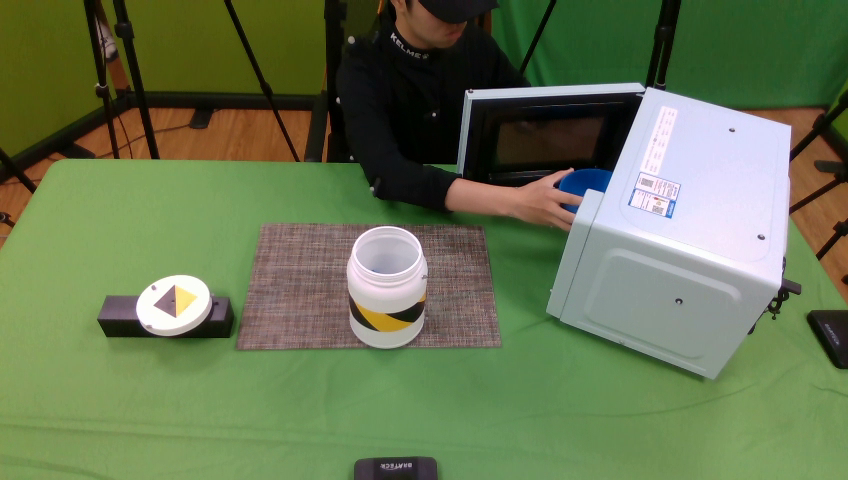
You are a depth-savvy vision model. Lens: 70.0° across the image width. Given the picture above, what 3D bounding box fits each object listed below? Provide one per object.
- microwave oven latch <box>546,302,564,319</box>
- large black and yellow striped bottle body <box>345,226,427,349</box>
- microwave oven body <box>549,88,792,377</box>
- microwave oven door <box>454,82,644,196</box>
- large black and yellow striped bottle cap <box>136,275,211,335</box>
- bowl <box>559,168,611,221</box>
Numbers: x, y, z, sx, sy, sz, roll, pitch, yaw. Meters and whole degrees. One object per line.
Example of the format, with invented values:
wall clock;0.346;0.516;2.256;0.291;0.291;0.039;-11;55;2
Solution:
microwave oven latch;0.242;0.102;1.081;0.030;0.029;0.079;21;48;17
large black and yellow striped bottle body;-0.062;0.078;0.998;0.131;0.185;0.130;2;46;-2
microwave oven body;0.456;-0.028;1.088;0.325;0.261;0.440;20;47;16
microwave oven door;0.247;-0.202;1.233;0.356;0.245;0.039;-5;47;-8
large black and yellow striped bottle cap;-0.412;0.105;0.999;0.115;0.019;0.114;3;46;-3
bowl;0.322;-0.060;1.136;0.151;0.077;0.150;1;41;0
